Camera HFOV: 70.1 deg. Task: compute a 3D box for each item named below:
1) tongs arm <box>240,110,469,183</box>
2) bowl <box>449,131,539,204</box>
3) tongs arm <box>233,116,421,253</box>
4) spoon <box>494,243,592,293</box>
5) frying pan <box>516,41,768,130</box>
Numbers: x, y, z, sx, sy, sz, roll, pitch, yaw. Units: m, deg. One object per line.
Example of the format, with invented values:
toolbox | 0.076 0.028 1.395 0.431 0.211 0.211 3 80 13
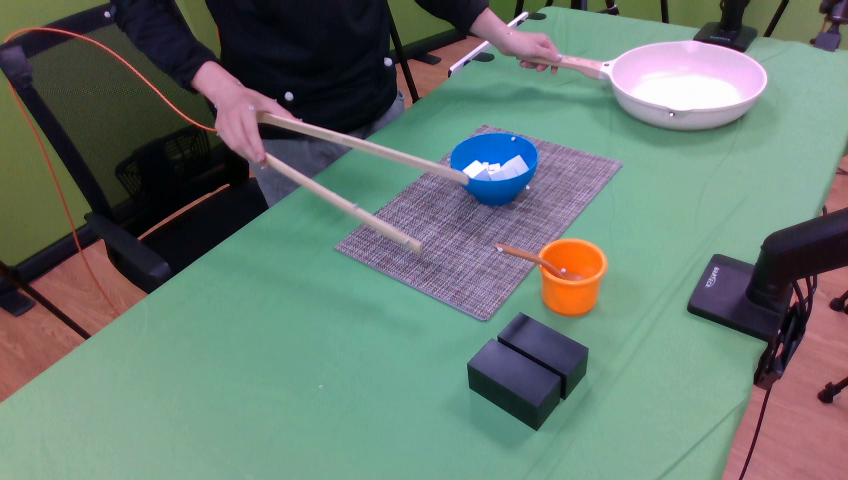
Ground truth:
tongs arm | -0.113 -0.147 0.949 0.386 0.028 0.028 18 66 13
bowl | 0.120 -0.114 1.034 0.151 0.077 0.150 -4 41 4
tongs arm | -0.152 -0.090 0.914 0.383 0.026 0.051 28 65 19
spoon | 0.162 0.034 0.808 0.021 0.195 0.041 -47 40 21
frying pan | 0.423 -0.338 1.236 0.486 0.103 0.307 18 45 15
